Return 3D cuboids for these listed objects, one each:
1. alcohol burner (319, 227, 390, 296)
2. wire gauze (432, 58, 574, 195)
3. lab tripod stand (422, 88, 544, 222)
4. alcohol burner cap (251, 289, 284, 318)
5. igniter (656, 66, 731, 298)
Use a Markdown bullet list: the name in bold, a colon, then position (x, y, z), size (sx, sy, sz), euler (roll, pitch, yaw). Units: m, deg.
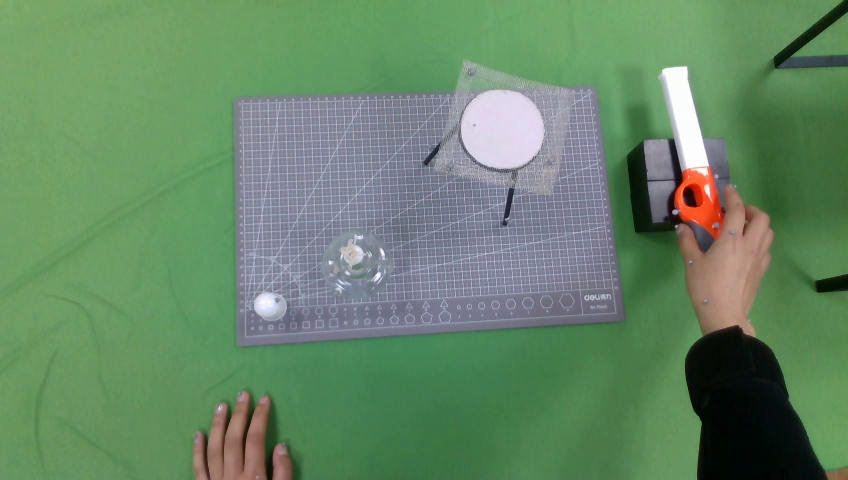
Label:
- **alcohol burner**: position (-0.076, 0.021, 0.651), size (0.078, 0.119, 0.077), euler (1, 80, -3)
- **wire gauze**: position (0.082, -0.115, 0.610), size (0.121, 0.011, 0.124), euler (16, 78, -1)
- **lab tripod stand**: position (0.075, -0.104, 0.676), size (0.148, 0.132, 0.147), euler (1, 77, -4)
- **alcohol burner cap**: position (-0.175, 0.068, 0.671), size (0.034, 0.048, 0.033), euler (1, 79, -5)
- **igniter**: position (0.309, -0.071, 0.698), size (0.057, 0.025, 0.275), euler (-6, 77, -3)
